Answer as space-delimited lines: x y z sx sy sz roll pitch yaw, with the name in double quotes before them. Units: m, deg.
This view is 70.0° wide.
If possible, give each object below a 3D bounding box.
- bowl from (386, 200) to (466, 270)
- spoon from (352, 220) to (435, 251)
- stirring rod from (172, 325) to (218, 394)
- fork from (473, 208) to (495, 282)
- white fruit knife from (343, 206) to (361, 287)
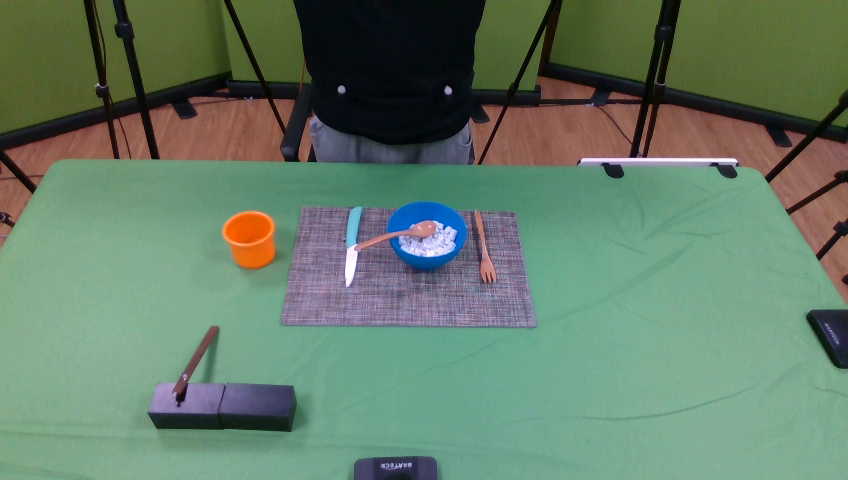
"bowl" 0.002 0.003 1.150 0.151 0.077 0.150 2 46 -2
"spoon" -0.054 -0.009 1.109 0.194 0.022 0.041 -14 41 -42
"stirring rod" -0.361 0.185 0.962 0.014 0.006 0.175 0 26 1
"fork" 0.115 0.007 1.196 0.028 0.019 0.206 -8 48 2
"white fruit knife" -0.143 0.010 1.175 0.027 0.016 0.206 -6 47 6
